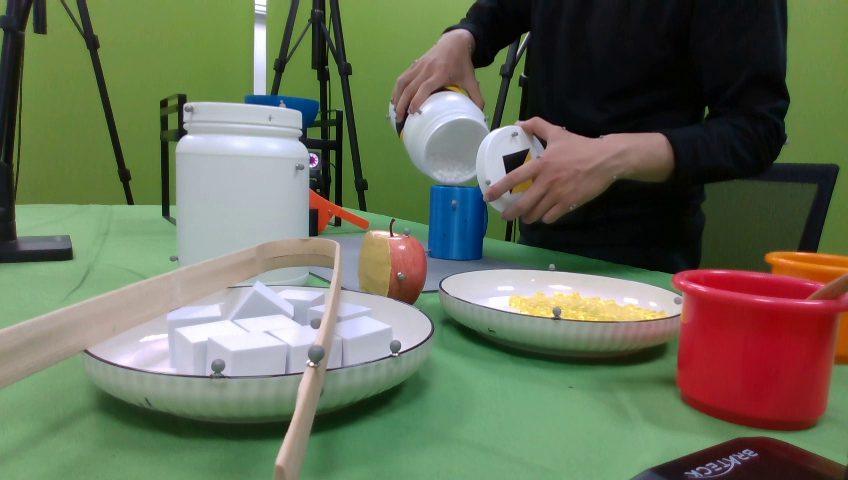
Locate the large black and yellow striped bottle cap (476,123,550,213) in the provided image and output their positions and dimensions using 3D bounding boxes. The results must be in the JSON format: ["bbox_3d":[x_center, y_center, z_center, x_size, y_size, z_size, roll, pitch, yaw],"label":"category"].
[{"bbox_3d":[0.116,-0.093,0.778,0.115,0.115,0.018,-3,-2,-34],"label":"large black and yellow striped bottle cap"}]

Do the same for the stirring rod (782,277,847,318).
[{"bbox_3d":[0.344,0.019,0.461,0.014,0.006,0.176,-13,-27,-30],"label":"stirring rod"}]

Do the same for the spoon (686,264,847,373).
[{"bbox_3d":[0.214,0.032,0.328,0.042,0.021,0.193,-3,-35,-26],"label":"spoon"}]

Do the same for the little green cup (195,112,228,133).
[{"bbox_3d":[-0.412,-0.227,1.172,0.061,0.038,0.061,3,8,0],"label":"little green cup"}]

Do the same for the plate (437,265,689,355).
[{"bbox_3d":[0.114,0.057,0.517,0.209,0.038,0.209,3,8,0],"label":"plate"}]

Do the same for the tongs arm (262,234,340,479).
[{"bbox_3d":[-0.074,0.039,0.349,0.051,0.026,0.384,-2,10,-3],"label":"tongs arm"}]

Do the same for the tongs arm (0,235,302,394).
[{"bbox_3d":[-0.157,0.038,0.351,0.028,0.028,0.388,-3,8,12],"label":"tongs arm"}]

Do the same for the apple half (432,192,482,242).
[{"bbox_3d":[0.049,-0.037,0.905,0.081,0.081,0.033,2,15,-2],"label":"apple half"}]

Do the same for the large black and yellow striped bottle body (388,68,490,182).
[{"bbox_3d":[0.024,-0.181,0.955,0.131,0.130,0.183,0,34,-20],"label":"large black and yellow striped bottle body"}]

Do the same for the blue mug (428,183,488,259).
[{"bbox_3d":[0.059,-0.031,0.907,0.082,0.106,0.117,9,10,42],"label":"blue mug"}]

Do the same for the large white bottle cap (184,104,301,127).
[{"bbox_3d":[-0.184,-0.126,0.618,0.115,0.018,0.115,2,8,0],"label":"large white bottle cap"}]

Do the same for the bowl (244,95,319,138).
[{"bbox_3d":[-0.293,-0.251,1.249,0.151,0.077,0.151,2,7,0],"label":"bowl"}]

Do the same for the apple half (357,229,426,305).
[{"bbox_3d":[-0.026,0.028,0.570,0.053,0.074,0.080,3,2,-28],"label":"apple half"}]

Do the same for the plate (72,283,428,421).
[{"bbox_3d":[-0.102,0.066,0.381,0.208,0.039,0.207,2,7,0],"label":"plate"}]

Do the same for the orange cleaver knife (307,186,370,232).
[{"bbox_3d":[-0.197,-0.056,1.141,0.212,0.077,0.012,29,0,-35],"label":"orange cleaver knife"}]

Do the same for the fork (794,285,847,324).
[{"bbox_3d":[0.332,0.018,0.443,0.028,0.018,0.207,-1,-36,-15],"label":"fork"}]

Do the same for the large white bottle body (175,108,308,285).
[{"bbox_3d":[-0.188,-0.042,0.630,0.131,0.184,0.130,2,8,0],"label":"large white bottle body"}]
